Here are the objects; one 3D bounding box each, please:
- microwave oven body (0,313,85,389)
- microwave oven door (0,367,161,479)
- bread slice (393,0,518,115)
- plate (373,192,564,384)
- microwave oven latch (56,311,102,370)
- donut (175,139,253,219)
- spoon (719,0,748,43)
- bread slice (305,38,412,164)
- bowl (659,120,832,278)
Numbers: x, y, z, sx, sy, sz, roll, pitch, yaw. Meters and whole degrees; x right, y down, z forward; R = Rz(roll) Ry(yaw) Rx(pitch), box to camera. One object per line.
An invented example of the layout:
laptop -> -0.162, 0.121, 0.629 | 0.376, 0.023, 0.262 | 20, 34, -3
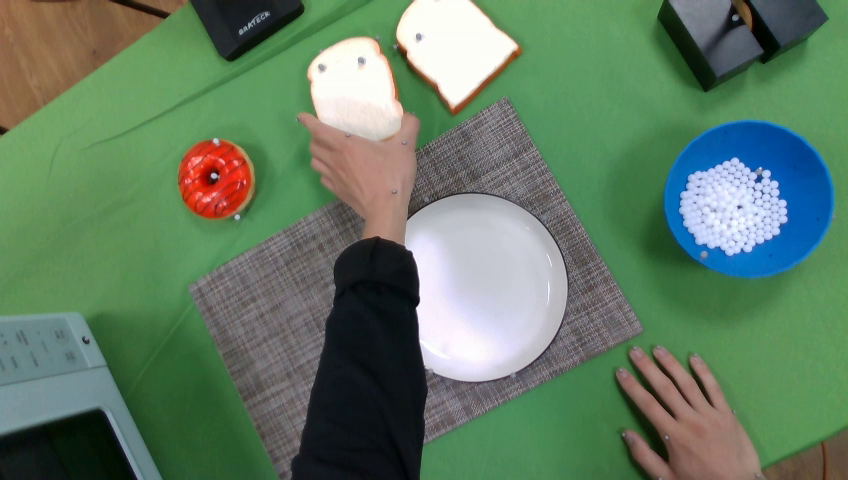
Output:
microwave oven body -> -0.483, 0.346, 0.639 | 0.326, 0.261, 0.440 | -31, 82, 7
microwave oven door -> -0.339, 0.306, 0.609 | 0.039, 0.244, 0.354 | -32, 82, 7
bread slice -> 0.026, -0.225, 0.700 | 0.105, 0.019, 0.131 | -44, 82, 5
plate -> 0.048, 0.052, 0.667 | 0.207, 0.039, 0.207 | -1, 87, 11
microwave oven latch -> -0.427, 0.125, 0.738 | 0.030, 0.029, 0.079 | -31, 83, 7
donut -> -0.254, -0.073, 0.731 | 0.099, 0.048, 0.099 | -1, 88, 13
spoon -> 0.291, -0.224, 0.560 | 0.021, 0.194, 0.041 | -29, 79, 22
bread slice -> -0.083, -0.162, 0.694 | 0.107, 0.018, 0.133 | -24, 77, 12
bowl -> 0.308, -0.037, 0.606 | 0.151, 0.077, 0.151 | -1, 87, 11
